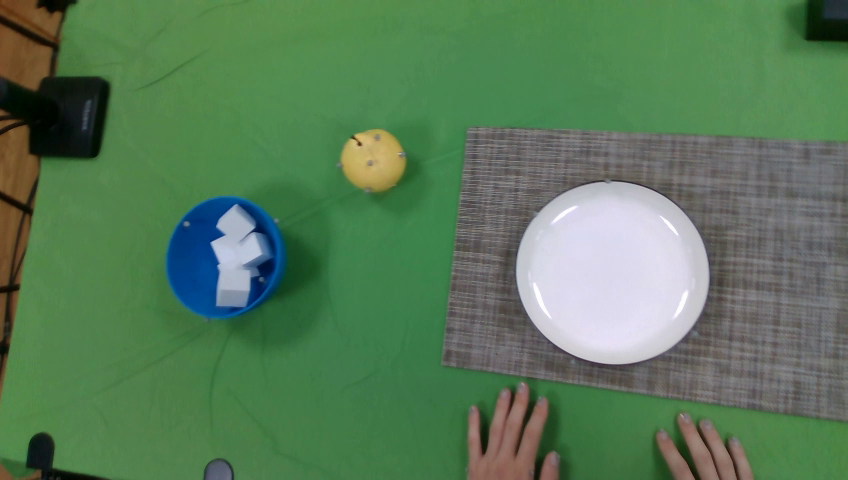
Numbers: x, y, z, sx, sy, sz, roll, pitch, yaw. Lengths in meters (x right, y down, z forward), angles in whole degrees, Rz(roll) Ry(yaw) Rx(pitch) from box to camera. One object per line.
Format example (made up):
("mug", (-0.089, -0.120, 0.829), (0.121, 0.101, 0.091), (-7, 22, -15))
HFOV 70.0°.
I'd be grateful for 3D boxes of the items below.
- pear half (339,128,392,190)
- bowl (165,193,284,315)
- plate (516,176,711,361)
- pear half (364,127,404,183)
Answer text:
("pear half", (-0.079, -0.101, 0.734), (0.056, 0.111, 0.075), (-22, 66, 7))
("bowl", (-0.237, 0.022, 0.765), (0.151, 0.077, 0.151), (-2, 81, 12))
("plate", (0.210, 0.032, 0.686), (0.207, 0.039, 0.207), (-2, 81, 12))
("pear half", (-0.043, -0.110, 0.739), (0.031, 0.089, 0.070), (-22, 67, 8))
